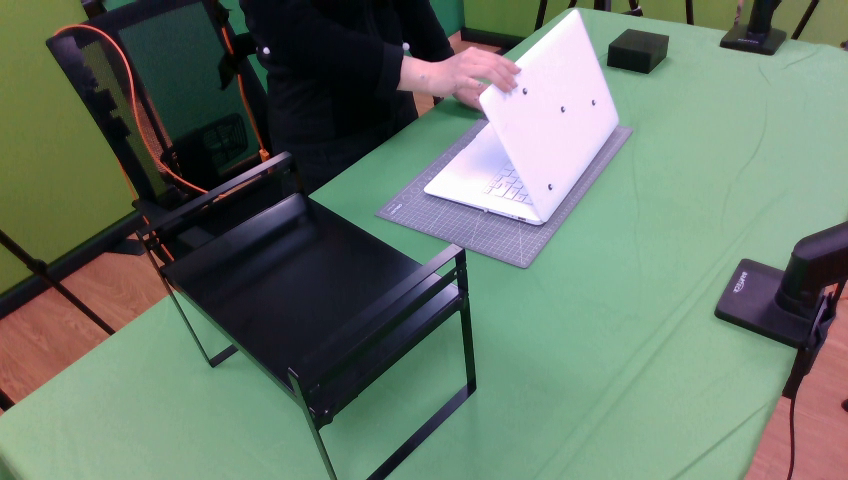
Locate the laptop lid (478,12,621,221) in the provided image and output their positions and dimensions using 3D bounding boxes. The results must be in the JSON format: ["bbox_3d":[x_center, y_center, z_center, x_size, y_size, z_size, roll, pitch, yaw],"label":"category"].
[{"bbox_3d":[0.230,-0.221,1.029,0.013,0.242,0.357,-9,28,47],"label":"laptop lid"}]

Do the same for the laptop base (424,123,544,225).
[{"bbox_3d":[0.187,-0.156,1.131,0.234,0.023,0.355,16,46,30],"label":"laptop base"}]
